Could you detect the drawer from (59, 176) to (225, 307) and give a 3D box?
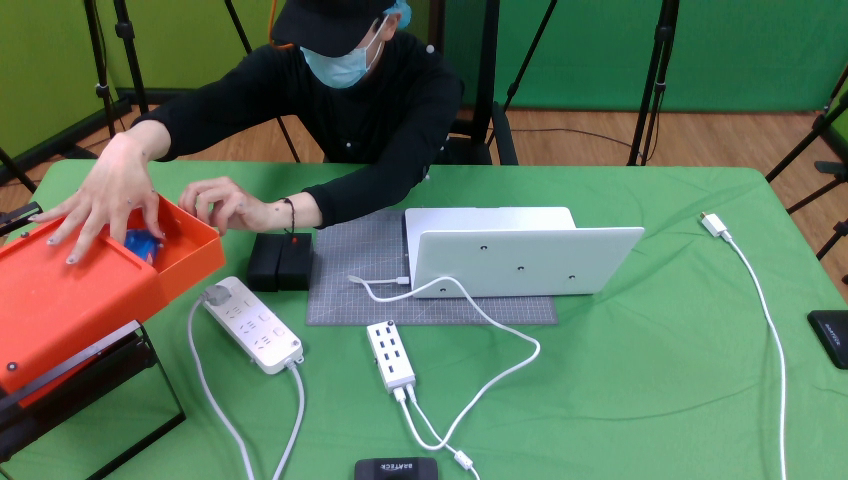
[{"bbox_3d":[-0.429,0.022,0.858,0.193,0.073,0.211,31,51,23],"label":"drawer"}]

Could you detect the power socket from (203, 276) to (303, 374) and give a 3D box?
[{"bbox_3d":[-0.295,0.141,1.034,0.072,0.033,0.225,-34,58,-30],"label":"power socket"}]

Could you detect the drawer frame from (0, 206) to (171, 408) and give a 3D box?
[{"bbox_3d":[-0.489,0.077,0.796,0.201,0.083,0.213,29,51,21],"label":"drawer frame"}]

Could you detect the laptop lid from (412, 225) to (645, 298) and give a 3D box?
[{"bbox_3d":[0.161,0.042,1.012,0.357,0.242,0.013,0,59,-7],"label":"laptop lid"}]

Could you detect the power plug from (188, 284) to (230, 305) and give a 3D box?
[{"bbox_3d":[-0.368,0.100,1.037,0.072,0.053,0.035,-22,52,-26],"label":"power plug"}]

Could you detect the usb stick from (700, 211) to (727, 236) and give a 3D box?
[{"bbox_3d":[0.606,-0.038,1.273,0.027,0.021,0.059,-18,56,-20],"label":"usb stick"}]

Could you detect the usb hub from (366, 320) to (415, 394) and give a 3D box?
[{"bbox_3d":[-0.056,0.192,1.009,0.049,0.025,0.124,-12,49,-16],"label":"usb hub"}]

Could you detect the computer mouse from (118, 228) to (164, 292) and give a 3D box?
[{"bbox_3d":[-0.425,0.024,0.881,0.063,0.041,0.116,0,46,1],"label":"computer mouse"}]

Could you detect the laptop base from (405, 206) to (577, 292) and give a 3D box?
[{"bbox_3d":[0.143,0.018,1.195,0.355,0.023,0.234,-1,43,-6],"label":"laptop base"}]
